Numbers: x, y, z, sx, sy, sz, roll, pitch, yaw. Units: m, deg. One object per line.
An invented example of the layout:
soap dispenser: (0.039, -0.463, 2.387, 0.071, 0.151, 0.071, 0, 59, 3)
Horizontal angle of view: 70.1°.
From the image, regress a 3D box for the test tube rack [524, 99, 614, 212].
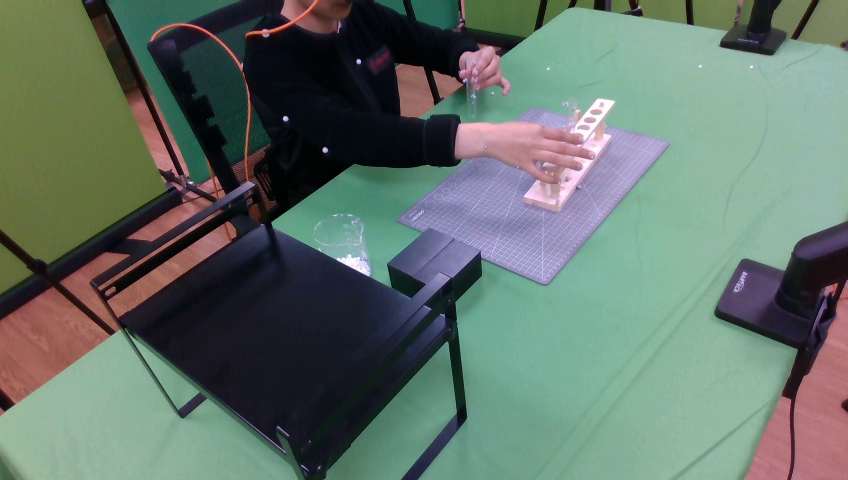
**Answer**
test tube rack: (0.259, -0.158, 1.068, 0.066, 0.085, 0.243, 19, 47, 28)

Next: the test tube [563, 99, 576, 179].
test tube: (0.241, -0.164, 1.001, 0.017, 0.151, 0.017, -5, 42, 5)

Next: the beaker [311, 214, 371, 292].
beaker: (-0.118, 0.022, 0.908, 0.083, 0.101, 0.074, 26, 51, 32)

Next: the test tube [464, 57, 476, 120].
test tube: (0.088, -0.285, 1.150, 0.017, 0.151, 0.017, -3, 57, 6)
